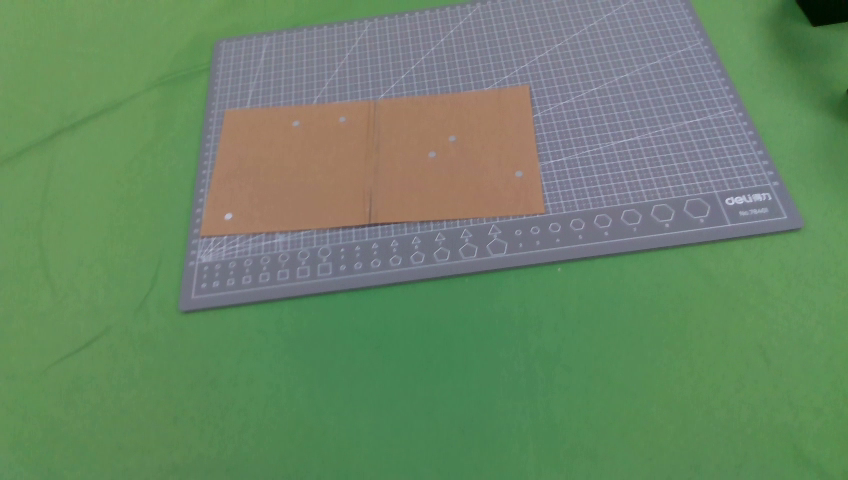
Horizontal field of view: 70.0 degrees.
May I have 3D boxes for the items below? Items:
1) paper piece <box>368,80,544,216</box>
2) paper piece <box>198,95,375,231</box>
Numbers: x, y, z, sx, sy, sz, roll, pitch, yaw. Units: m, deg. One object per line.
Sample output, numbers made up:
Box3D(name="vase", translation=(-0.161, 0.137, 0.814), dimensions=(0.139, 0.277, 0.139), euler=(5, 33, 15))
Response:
Box3D(name="paper piece", translation=(0.023, -0.077, 0.489), dimensions=(0.135, 0.004, 0.134), euler=(-2, 57, 5))
Box3D(name="paper piece", translation=(-0.109, -0.068, 0.500), dimensions=(0.138, 0.009, 0.134), euler=(-3, 55, 6))
